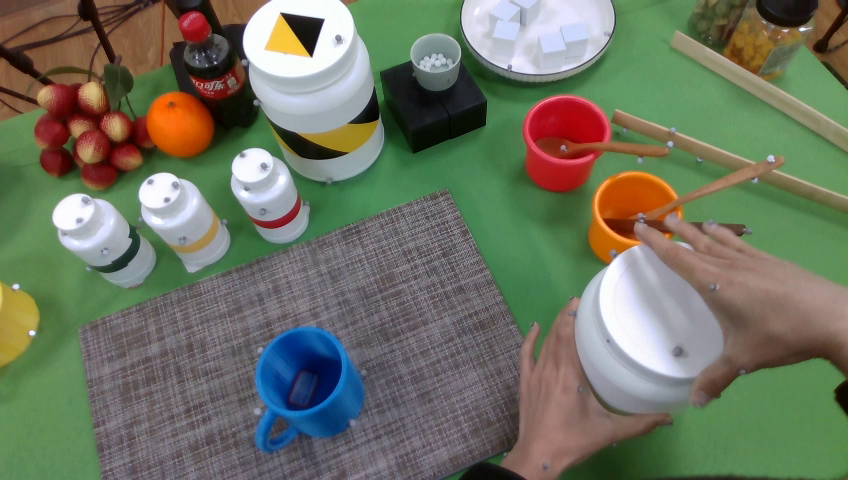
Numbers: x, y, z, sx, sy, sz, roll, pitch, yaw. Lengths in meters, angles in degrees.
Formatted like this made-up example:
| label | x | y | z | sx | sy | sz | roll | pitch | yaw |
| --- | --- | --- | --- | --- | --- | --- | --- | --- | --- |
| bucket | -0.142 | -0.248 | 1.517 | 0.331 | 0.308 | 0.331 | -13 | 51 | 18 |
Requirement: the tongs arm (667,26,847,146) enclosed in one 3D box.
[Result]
| label | x | y | z | sx | sy | sz | roll | pitch | yaw |
| --- | --- | --- | --- | --- | --- | --- | --- | --- | --- |
| tongs arm | 0.462 | -0.157 | 0.746 | 0.028 | 0.028 | 0.384 | -39 | 68 | -23 |

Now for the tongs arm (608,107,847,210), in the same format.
| label | x | y | z | sx | sy | sz | roll | pitch | yaw |
| --- | --- | --- | --- | --- | --- | --- | --- | --- | --- |
| tongs arm | 0.408 | -0.092 | 0.713 | 0.383 | 0.027 | 0.050 | 26 | 64 | 14 |

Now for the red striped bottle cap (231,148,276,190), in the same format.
| label | x | y | z | sx | sy | sz | roll | pitch | yaw |
| --- | --- | --- | --- | --- | --- | --- | --- | --- | --- |
| red striped bottle cap | -0.178 | -0.075 | 0.631 | 0.044 | 0.018 | 0.044 | 0 | 61 | 0 |

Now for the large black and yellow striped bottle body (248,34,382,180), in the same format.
| label | x | y | z | sx | sy | sz | roll | pitch | yaw |
| --- | --- | --- | --- | --- | --- | --- | --- | --- | --- |
| large black and yellow striped bottle body | -0.123 | -0.169 | 0.697 | 0.131 | 0.185 | 0.129 | -1 | 63 | 3 |

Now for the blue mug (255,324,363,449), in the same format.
| label | x | y | z | sx | sy | sz | roll | pitch | yaw |
| --- | --- | --- | --- | --- | --- | --- | --- | --- | --- |
| blue mug | -0.117 | 0.149 | 0.580 | 0.082 | 0.107 | 0.116 | 32 | 70 | 18 |

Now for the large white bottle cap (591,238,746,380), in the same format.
| label | x | y | z | sx | sy | sz | roll | pitch | yaw |
| --- | --- | --- | --- | --- | --- | --- | --- | --- | --- |
| large white bottle cap | 0.190 | 0.052 | 0.475 | 0.115 | 0.018 | 0.114 | -1 | 63 | 3 |

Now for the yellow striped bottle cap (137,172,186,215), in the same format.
| label | x | y | z | sx | sy | sz | roll | pitch | yaw |
| --- | --- | --- | --- | --- | --- | --- | --- | --- | --- |
| yellow striped bottle cap | -0.269 | -0.048 | 0.622 | 0.044 | 0.019 | 0.044 | 0 | 59 | 0 |

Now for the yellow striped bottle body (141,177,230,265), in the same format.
| label | x | y | z | sx | sy | sz | roll | pitch | yaw |
| --- | --- | --- | --- | --- | --- | --- | --- | --- | --- |
| yellow striped bottle body | -0.265 | -0.025 | 0.669 | 0.063 | 0.121 | 0.062 | -2 | 63 | 3 |

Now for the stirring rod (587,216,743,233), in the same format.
| label | x | y | z | sx | sy | sz | roll | pitch | yaw |
| --- | --- | --- | --- | --- | --- | --- | --- | --- | --- |
| stirring rod | 0.242 | -0.017 | 0.628 | 0.014 | 0.006 | 0.175 | -48 | 29 | -23 |

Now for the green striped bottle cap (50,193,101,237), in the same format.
| label | x | y | z | sx | sy | sz | roll | pitch | yaw |
| --- | --- | --- | --- | --- | --- | --- | --- | --- | --- |
| green striped bottle cap | -0.354 | -0.026 | 0.616 | 0.044 | 0.020 | 0.044 | 0 | 63 | 0 |

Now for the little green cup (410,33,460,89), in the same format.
| label | x | y | z | sx | sy | sz | roll | pitch | yaw |
| --- | --- | --- | --- | --- | --- | --- | --- | --- | --- |
| little green cup | 0.014 | -0.216 | 0.738 | 0.061 | 0.039 | 0.061 | -1 | 61 | 1 |

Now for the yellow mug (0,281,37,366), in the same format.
| label | x | y | z | sx | sy | sz | roll | pitch | yaw |
| --- | --- | --- | --- | --- | --- | --- | --- | --- | --- |
| yellow mug | -0.486 | 0.098 | 0.650 | 0.100 | 0.064 | 0.129 | -13 | 64 | -3 |

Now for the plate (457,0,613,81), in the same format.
| label | x | y | z | sx | sy | sz | roll | pitch | yaw |
| --- | --- | --- | --- | --- | --- | --- | --- | --- | --- |
| plate | 0.148 | -0.295 | 0.827 | 0.209 | 0.038 | 0.207 | -1 | 64 | 2 |

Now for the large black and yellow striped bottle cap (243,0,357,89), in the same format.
| label | x | y | z | sx | sy | sz | roll | pitch | yaw |
| --- | --- | --- | --- | --- | --- | --- | --- | --- | --- |
| large black and yellow striped bottle cap | -0.127 | -0.206 | 0.620 | 0.115 | 0.019 | 0.114 | -2 | 66 | 5 |

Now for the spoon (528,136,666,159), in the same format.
| label | x | y | z | sx | sy | sz | roll | pitch | yaw |
| --- | --- | --- | --- | --- | --- | --- | --- | --- | --- |
| spoon | 0.185 | -0.103 | 0.671 | 0.041 | 0.192 | 0.022 | -39 | 113 | -19 |

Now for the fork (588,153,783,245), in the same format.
| label | x | y | z | sx | sy | sz | roll | pitch | yaw |
| --- | --- | --- | --- | --- | --- | --- | --- | --- | --- |
| fork | 0.264 | -0.041 | 0.632 | 0.207 | 0.019 | 0.028 | -30 | 52 | 39 |

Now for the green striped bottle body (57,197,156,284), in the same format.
| label | x | y | z | sx | sy | sz | roll | pitch | yaw |
| --- | --- | --- | --- | --- | --- | --- | --- | --- | --- |
| green striped bottle body | -0.349 | -0.002 | 0.663 | 0.063 | 0.120 | 0.062 | -1 | 63 | 2 |

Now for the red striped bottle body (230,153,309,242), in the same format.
| label | x | y | z | sx | sy | sz | roll | pitch | yaw |
| --- | --- | --- | --- | --- | --- | --- | --- | --- | --- |
| red striped bottle body | -0.174 | -0.051 | 0.677 | 0.063 | 0.120 | 0.062 | -2 | 63 | 5 |

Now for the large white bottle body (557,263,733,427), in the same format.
| label | x | y | z | sx | sy | sz | roll | pitch | yaw |
| --- | --- | --- | --- | --- | --- | --- | --- | --- | --- |
| large white bottle body | 0.197 | 0.090 | 0.551 | 0.130 | 0.186 | 0.129 | -1 | 63 | 3 |
